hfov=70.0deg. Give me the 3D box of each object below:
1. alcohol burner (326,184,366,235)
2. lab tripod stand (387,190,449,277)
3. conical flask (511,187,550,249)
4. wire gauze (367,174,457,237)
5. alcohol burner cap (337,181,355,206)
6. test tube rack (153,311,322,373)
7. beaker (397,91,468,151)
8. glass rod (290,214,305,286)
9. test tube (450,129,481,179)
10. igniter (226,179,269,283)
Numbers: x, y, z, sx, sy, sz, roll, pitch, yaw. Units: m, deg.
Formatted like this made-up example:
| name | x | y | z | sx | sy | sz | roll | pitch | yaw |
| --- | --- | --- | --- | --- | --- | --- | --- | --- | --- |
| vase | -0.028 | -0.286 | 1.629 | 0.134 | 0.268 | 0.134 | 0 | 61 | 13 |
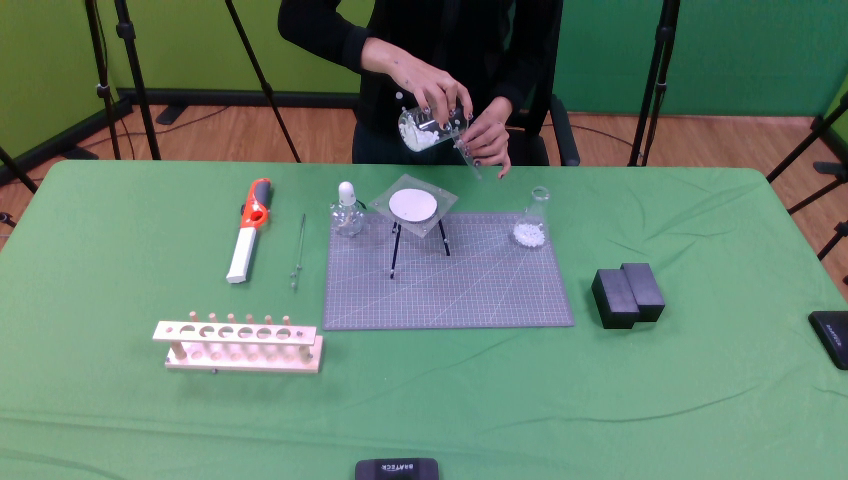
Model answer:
| name | x | y | z | sx | sy | sz | roll | pitch | yaw |
| --- | --- | --- | --- | --- | --- | --- | --- | --- | --- |
| alcohol burner | -0.152 | -0.066 | 1.184 | 0.078 | 0.119 | 0.077 | 4 | 46 | -4 |
| lab tripod stand | -0.021 | -0.018 | 1.135 | 0.148 | 0.132 | 0.147 | 3 | 44 | -3 |
| conical flask | 0.217 | -0.048 | 1.190 | 0.075 | 0.122 | 0.075 | 2 | 46 | -2 |
| wire gauze | -0.021 | -0.067 | 1.088 | 0.124 | 0.011 | 0.121 | 28 | 49 | 21 |
| alcohol burner cap | -0.151 | -0.090 | 1.157 | 0.034 | 0.048 | 0.033 | 0 | 52 | 0 |
| test tube rack | -0.293 | 0.160 | 0.978 | 0.242 | 0.085 | 0.066 | 3 | 46 | -2 |
| beaker | 0.013 | -0.196 | 1.020 | 0.100 | 0.084 | 0.073 | -26 | 52 | -22 |
| glass rod | -0.245 | 0.015 | 1.176 | 0.008 | 0.008 | 0.198 | 1 | 43 | -3 |
| test tube | 0.079 | -0.156 | 1.126 | 0.017 | 0.151 | 0.017 | -10 | 60 | 19 |
| igniter | -0.345 | -0.027 | 1.195 | 0.057 | 0.025 | 0.274 | -6 | 46 | 5 |
